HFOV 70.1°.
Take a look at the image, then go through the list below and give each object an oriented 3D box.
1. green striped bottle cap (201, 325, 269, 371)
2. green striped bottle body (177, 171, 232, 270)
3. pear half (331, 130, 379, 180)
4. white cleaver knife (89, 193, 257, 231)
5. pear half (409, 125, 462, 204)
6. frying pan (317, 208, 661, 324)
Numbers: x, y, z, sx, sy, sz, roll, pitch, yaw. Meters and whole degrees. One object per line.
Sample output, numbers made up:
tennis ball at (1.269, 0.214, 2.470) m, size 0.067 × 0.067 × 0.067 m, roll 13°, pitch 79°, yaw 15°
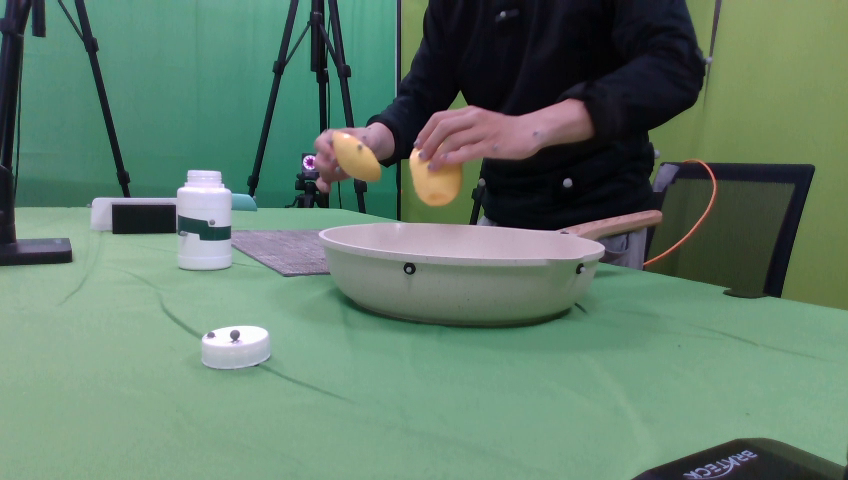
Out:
green striped bottle cap at (-0.129, 0.073, 0.415) m, size 0.044 × 0.020 × 0.044 m, roll 2°, pitch 8°, yaw 0°
green striped bottle body at (-0.273, -0.026, 0.752) m, size 0.063 × 0.119 × 0.063 m, roll 2°, pitch 7°, yaw 0°
pear half at (-0.100, -0.111, 0.819) m, size 0.088 × 0.031 × 0.070 m, roll 39°, pitch -32°, yaw 4°
white cleaver knife at (-0.454, -0.052, 1.114) m, size 0.288 × 0.066 × 0.021 m, roll -4°, pitch 15°, yaw -27°
pear half at (0.019, -0.105, 0.770) m, size 0.056 × 0.109 × 0.076 m, roll -15°, pitch -24°, yaw 20°
frying pan at (0.121, 0.005, 0.691) m, size 0.490 × 0.102 × 0.305 m, roll -13°, pitch 15°, yaw -33°
